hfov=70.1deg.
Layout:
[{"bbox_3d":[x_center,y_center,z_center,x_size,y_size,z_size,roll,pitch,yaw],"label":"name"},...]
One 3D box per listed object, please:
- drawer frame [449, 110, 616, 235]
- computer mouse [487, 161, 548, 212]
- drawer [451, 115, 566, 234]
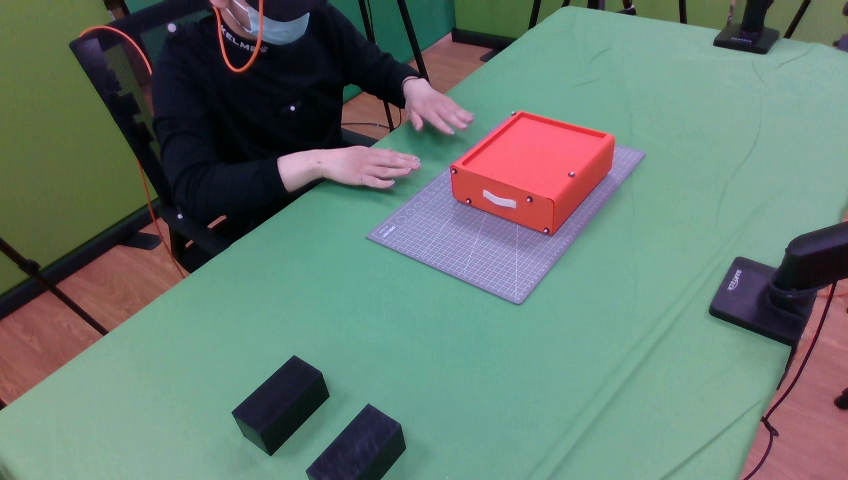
[{"bbox_3d":[0.186,-0.124,1.035,0.200,0.083,0.214,23,48,31],"label":"drawer frame"},{"bbox_3d":[0.158,-0.095,1.025,0.063,0.041,0.116,-15,48,-21],"label":"computer mouse"},{"bbox_3d":[0.185,-0.121,1.034,0.193,0.073,0.212,23,48,31],"label":"drawer"}]
